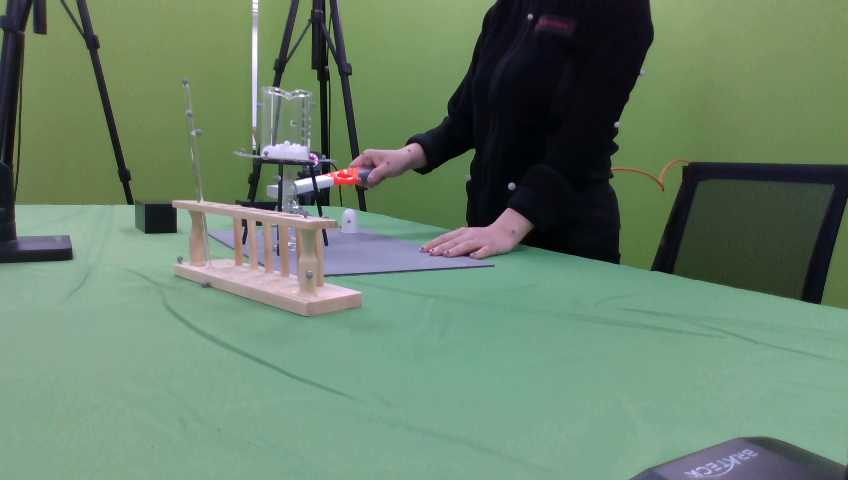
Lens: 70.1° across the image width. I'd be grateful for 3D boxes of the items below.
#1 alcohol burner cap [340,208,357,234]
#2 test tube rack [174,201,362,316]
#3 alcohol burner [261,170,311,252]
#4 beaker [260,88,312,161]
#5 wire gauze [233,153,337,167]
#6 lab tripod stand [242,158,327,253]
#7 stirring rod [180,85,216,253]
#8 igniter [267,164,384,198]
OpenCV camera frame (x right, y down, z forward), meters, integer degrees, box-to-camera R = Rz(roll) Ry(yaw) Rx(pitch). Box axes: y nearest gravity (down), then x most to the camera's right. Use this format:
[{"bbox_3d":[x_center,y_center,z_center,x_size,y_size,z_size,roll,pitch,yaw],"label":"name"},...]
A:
[{"bbox_3d":[-0.142,-0.035,1.136,0.034,0.048,0.034,1,6,0],"label":"alcohol burner cap"},{"bbox_3d":[-0.169,0.009,0.622,0.241,0.085,0.067,9,9,41],"label":"test tube rack"},{"bbox_3d":[-0.201,-0.043,0.891,0.078,0.119,0.078,1,6,0],"label":"alcohol burner"},{"bbox_3d":[-0.200,-0.166,0.876,0.074,0.100,0.083,1,7,-18],"label":"beaker"},{"bbox_3d":[-0.205,-0.119,0.887,0.122,0.011,0.124,2,4,-32],"label":"wire gauze"},{"bbox_3d":[-0.207,-0.054,0.895,0.148,0.131,0.148,2,5,0],"label":"lab tripod stand"},{"bbox_3d":[-0.237,-0.073,0.634,0.006,0.176,0.014,0,9,42],"label":"stirring rod"},{"bbox_3d":[-0.160,-0.104,1.044,0.057,0.025,0.277,13,19,28],"label":"igniter"}]
